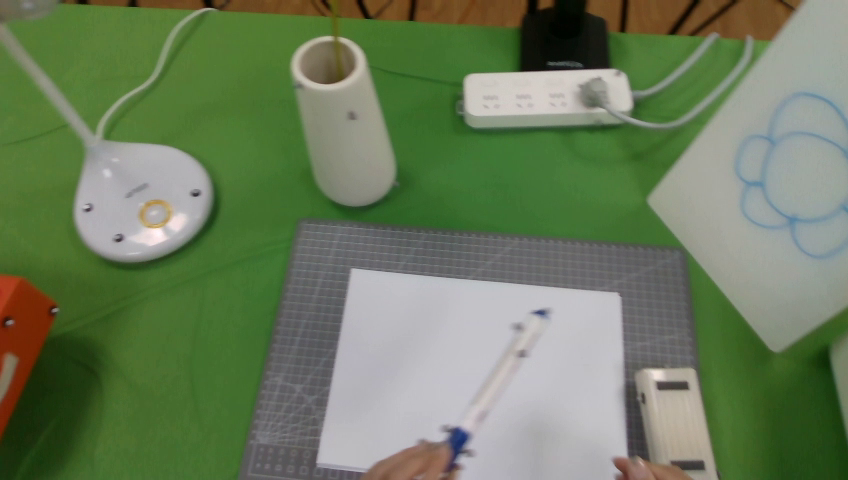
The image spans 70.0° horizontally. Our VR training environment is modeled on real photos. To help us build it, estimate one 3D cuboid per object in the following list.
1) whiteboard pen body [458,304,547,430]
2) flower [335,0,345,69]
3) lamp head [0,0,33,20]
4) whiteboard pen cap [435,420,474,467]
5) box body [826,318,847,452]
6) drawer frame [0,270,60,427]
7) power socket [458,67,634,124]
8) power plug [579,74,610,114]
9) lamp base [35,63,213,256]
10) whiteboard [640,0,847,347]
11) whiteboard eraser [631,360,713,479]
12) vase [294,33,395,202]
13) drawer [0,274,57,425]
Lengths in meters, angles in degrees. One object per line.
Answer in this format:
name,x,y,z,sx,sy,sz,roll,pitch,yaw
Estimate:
whiteboard pen body,0.057,0.108,0.478,0.017,0.017,0.140,31,69,17
flower,-0.081,-0.180,0.595,0.038,0.365,0.043,-6,44,-9
lamp head,-0.305,-0.223,0.399,0.124,0.112,0.112,44,66,-20
whiteboard pen cap,0.023,0.152,0.457,0.018,0.018,0.033,30,67,17
box body,0.515,0.215,0.488,0.254,0.161,0.361,4,62,3
drawer frame,-0.496,0.119,0.559,0.213,0.083,0.200,8,63,3
power socket,0.157,-0.186,0.780,0.227,0.033,0.071,-1,63,1
power plug,0.208,-0.172,0.745,0.035,0.053,0.072,8,64,6
lamp base,-0.346,-0.095,0.660,0.178,0.182,0.160,35,68,21
whiteboard,0.407,-0.073,0.596,0.144,0.307,0.215,-16,61,-28
whiteboard eraser,0.236,0.173,0.582,0.055,0.042,0.111,0,62,-1
vase,-0.087,-0.126,0.660,0.098,0.201,0.097,-1,61,3
drawer,-0.490,0.117,0.558,0.211,0.074,0.193,7,64,5
